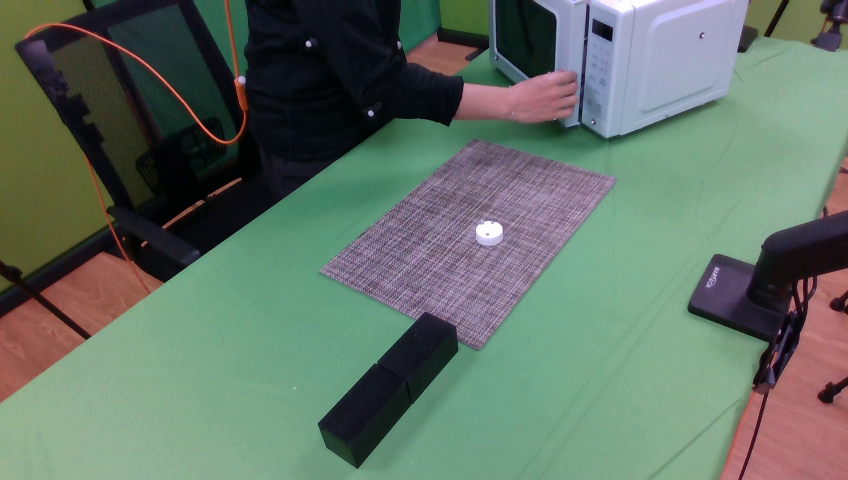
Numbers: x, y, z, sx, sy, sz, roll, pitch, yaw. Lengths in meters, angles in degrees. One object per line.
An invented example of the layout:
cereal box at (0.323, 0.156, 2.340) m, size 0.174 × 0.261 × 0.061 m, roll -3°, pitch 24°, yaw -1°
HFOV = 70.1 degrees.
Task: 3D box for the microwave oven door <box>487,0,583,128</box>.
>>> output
microwave oven door at (0.216, -0.414, 1.227) m, size 0.039 × 0.245 × 0.353 m, roll -18°, pitch 42°, yaw -12°

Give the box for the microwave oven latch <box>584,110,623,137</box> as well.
microwave oven latch at (0.337, -0.222, 1.142) m, size 0.030 × 0.029 × 0.078 m, roll -21°, pitch 42°, yaw -14°

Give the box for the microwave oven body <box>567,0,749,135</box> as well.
microwave oven body at (0.382, -0.444, 1.246) m, size 0.327 × 0.261 × 0.437 m, roll -22°, pitch 42°, yaw -16°

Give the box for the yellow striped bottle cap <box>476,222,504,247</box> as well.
yellow striped bottle cap at (0.105, -0.010, 0.966) m, size 0.044 × 0.019 × 0.044 m, roll -4°, pitch 39°, yaw 3°

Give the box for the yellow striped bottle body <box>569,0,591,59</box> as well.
yellow striped bottle body at (0.338, -0.448, 1.266) m, size 0.063 × 0.121 × 0.062 m, roll -5°, pitch 45°, yaw 6°
